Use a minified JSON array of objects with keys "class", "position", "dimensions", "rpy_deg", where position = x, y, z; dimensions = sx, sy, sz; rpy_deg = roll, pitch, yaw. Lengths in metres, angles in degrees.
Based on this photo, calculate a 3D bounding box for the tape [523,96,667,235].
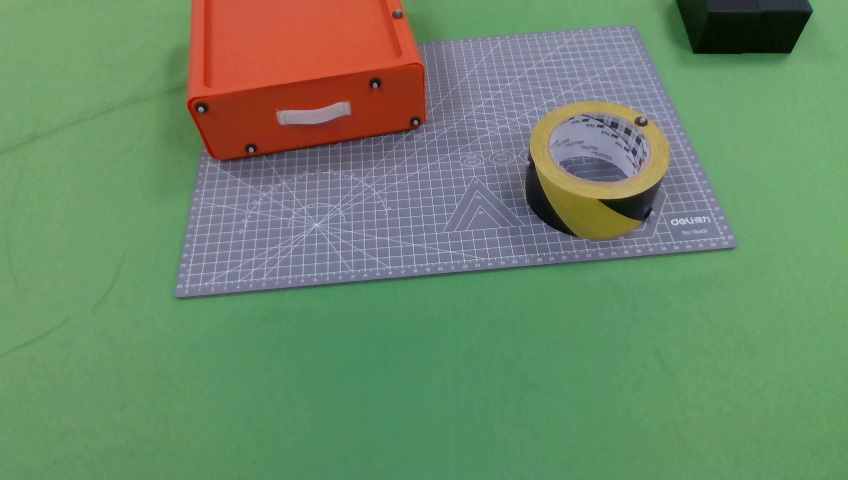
[{"class":"tape","position":[0.141,-0.063,0.505],"dimensions":[0.117,0.053,0.115],"rpy_deg":[-1,55,2]}]

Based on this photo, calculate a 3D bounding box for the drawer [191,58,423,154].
[{"class":"drawer","position":[-0.116,-0.193,0.588],"dimensions":[0.195,0.074,0.209],"rpy_deg":[-11,55,-5]}]

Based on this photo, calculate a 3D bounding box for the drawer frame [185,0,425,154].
[{"class":"drawer frame","position":[-0.118,-0.195,0.589],"dimensions":[0.202,0.083,0.211],"rpy_deg":[-11,54,-6]}]
